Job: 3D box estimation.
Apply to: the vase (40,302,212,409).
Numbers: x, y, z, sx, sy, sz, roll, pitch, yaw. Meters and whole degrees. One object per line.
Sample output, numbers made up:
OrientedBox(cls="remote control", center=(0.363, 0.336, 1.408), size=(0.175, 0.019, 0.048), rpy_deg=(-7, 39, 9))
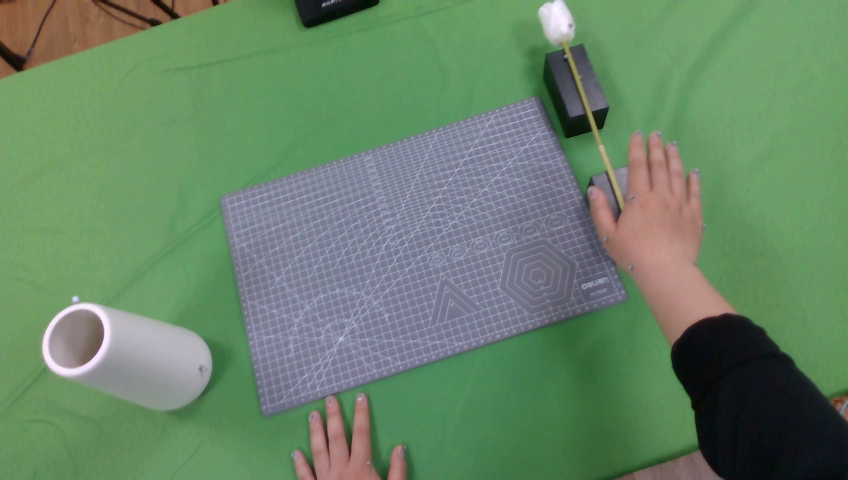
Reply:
OrientedBox(cls="vase", center=(-0.306, 0.123, 0.645), size=(0.098, 0.201, 0.097), rpy_deg=(-2, 69, 5))

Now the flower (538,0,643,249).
OrientedBox(cls="flower", center=(0.202, -0.151, 0.733), size=(0.044, 0.038, 0.358), rpy_deg=(0, 64, -26))
